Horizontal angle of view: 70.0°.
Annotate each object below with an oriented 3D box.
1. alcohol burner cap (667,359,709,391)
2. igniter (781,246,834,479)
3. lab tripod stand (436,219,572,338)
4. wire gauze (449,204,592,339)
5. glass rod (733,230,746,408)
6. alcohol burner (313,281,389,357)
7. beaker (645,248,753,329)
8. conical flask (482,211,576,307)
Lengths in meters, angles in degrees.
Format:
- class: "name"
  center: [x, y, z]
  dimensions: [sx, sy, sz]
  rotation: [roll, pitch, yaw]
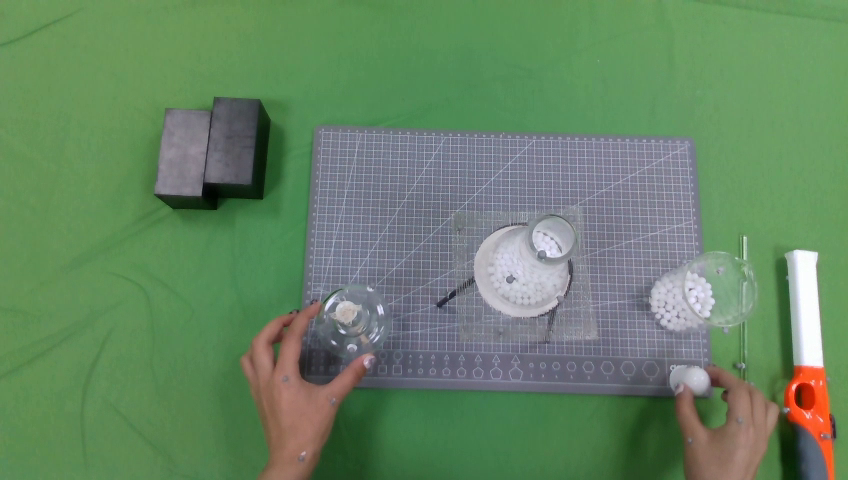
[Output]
- class: "alcohol burner cap"
  center: [0.279, 0.142, 0.634]
  dimensions: [0.034, 0.048, 0.033]
  rotation: [0, 79, 0]
- class: "igniter"
  center: [0.411, 0.142, 0.654]
  dimensions: [0.057, 0.025, 0.275]
  rotation: [6, 77, -10]
- class: "lab tripod stand"
  center: [0.085, 0.041, 0.611]
  dimensions: [0.148, 0.132, 0.147]
  rotation: [0, 78, -1]
- class: "wire gauze"
  center: [0.087, 0.028, 0.546]
  dimensions: [0.125, 0.011, 0.121]
  rotation: [-2, 79, -4]
- class: "glass rod"
  center: [0.353, 0.085, 0.676]
  dimensions: [0.008, 0.008, 0.198]
  rotation: [5, 77, -1]
- class: "alcohol burner"
  center: [-0.075, 0.076, 0.608]
  dimensions: [0.078, 0.119, 0.077]
  rotation: [1, 74, -2]
- class: "beaker"
  center: [0.283, 0.053, 0.631]
  dimensions: [0.084, 0.100, 0.073]
  rotation: [-35, 80, -9]
- class: "conical flask"
  center: [0.090, 0.010, 0.490]
  dimensions: [0.075, 0.122, 0.075]
  rotation: [0, 77, 0]
